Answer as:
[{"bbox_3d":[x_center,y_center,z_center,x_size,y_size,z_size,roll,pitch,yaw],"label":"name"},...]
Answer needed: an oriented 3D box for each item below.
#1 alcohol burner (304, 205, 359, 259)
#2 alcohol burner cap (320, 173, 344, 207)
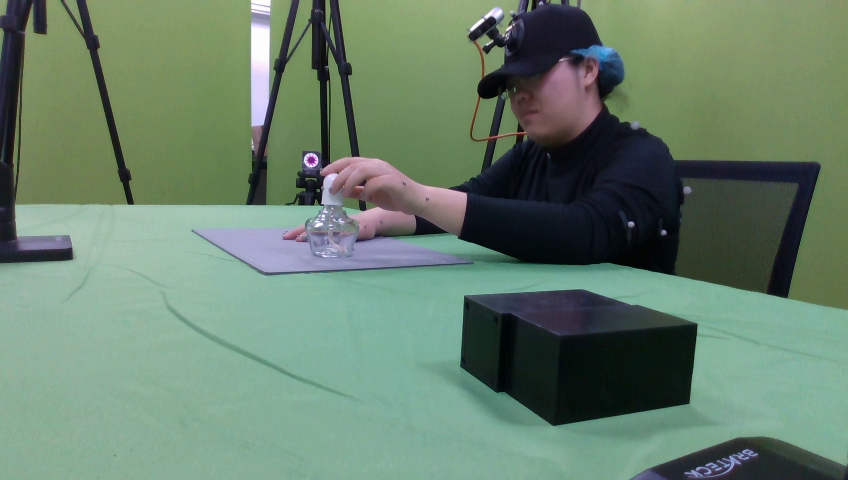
[{"bbox_3d":[-0.130,-0.034,0.852,0.078,0.119,0.078,2,5,0],"label":"alcohol burner"},{"bbox_3d":[-0.129,-0.070,0.848,0.034,0.048,0.034,2,1,0],"label":"alcohol burner cap"}]
